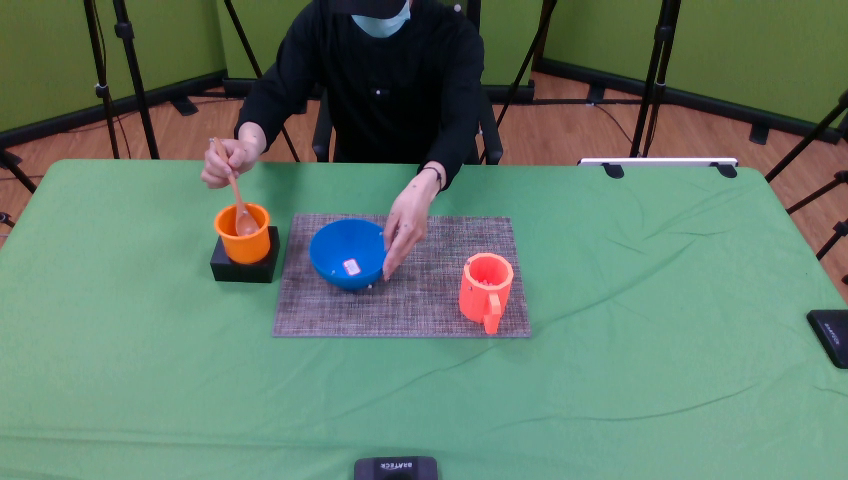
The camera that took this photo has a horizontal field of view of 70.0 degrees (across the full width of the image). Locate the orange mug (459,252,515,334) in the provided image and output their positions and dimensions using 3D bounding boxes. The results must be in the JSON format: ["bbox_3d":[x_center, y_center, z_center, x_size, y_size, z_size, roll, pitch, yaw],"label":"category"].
[{"bbox_3d":[0.111,0.096,1.052,0.083,0.101,0.125,-4,42,-7],"label":"orange mug"}]

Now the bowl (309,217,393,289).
[{"bbox_3d":[-0.130,0.037,1.107,0.151,0.077,0.150,1,46,-1],"label":"bowl"}]

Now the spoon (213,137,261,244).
[{"bbox_3d":[-0.328,-0.086,1.058,0.041,0.194,0.021,-23,12,-41],"label":"spoon"}]
